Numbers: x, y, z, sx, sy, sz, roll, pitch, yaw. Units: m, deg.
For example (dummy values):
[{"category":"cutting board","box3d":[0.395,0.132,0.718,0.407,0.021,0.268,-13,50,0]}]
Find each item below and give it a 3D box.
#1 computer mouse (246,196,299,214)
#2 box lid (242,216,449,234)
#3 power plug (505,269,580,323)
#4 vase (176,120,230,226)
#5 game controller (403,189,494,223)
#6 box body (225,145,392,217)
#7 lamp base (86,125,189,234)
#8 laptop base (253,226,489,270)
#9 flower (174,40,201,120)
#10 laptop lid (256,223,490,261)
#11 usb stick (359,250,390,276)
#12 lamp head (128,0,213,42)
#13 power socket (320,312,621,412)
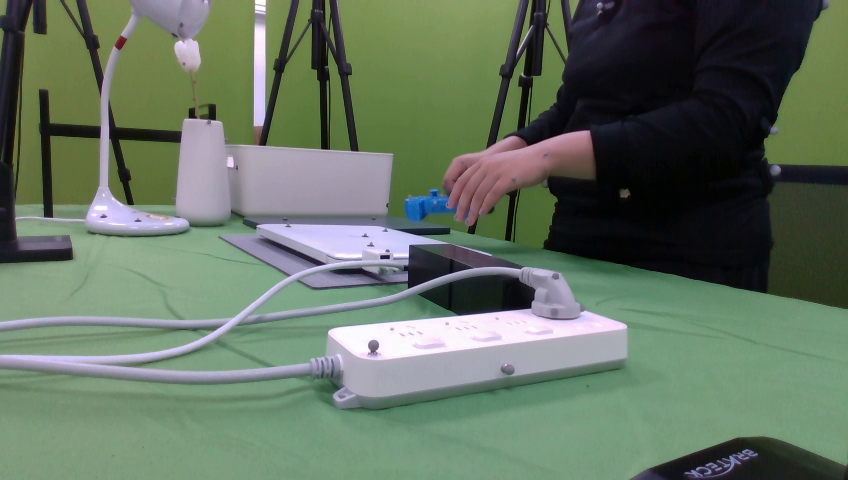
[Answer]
[{"category":"computer mouse","box3d":[-0.355,-0.083,1.418,0.117,0.041,0.063,0,10,7]},{"category":"box lid","box3d":[-0.162,-0.030,1.233,0.373,0.015,0.262,-1,8,-32]},{"category":"power plug","box3d":[0.092,0.051,0.470,0.035,0.052,0.072,0,7,-16]},{"category":"vase","box3d":[-0.424,-0.128,1.159,0.098,0.200,0.098,2,9,0]},{"category":"game controller","box3d":[0.038,-0.060,1.051,0.155,0.051,0.097,-2,10,17]},{"category":"box body","box3d":[-0.289,-0.143,1.475,0.366,0.160,0.253,-1,9,-29]},{"category":"lamp base","box3d":[-0.497,-0.105,1.027,0.179,0.180,0.160,1,7,3]},{"category":"laptop base","box3d":[-0.095,0.011,0.912,0.237,0.023,0.352,2,6,-32]},{"category":"flower","box3d":[-0.430,-0.211,1.165,0.044,0.361,0.038,-10,-5,-23]},{"category":"laptop lid","box3d":[-0.093,0.000,0.912,0.243,0.013,0.355,1,7,-30]},{"category":"usb stick","box3d":[-0.061,0.026,0.709,0.021,0.027,0.059,-1,3,-30]},{"category":"lamp head","box3d":[-0.423,-0.394,0.980,0.123,0.112,0.112,20,7,-3]},{"category":"power socket","box3d":[0.038,0.075,0.409,0.228,0.032,0.072,-2,8,-29]}]
